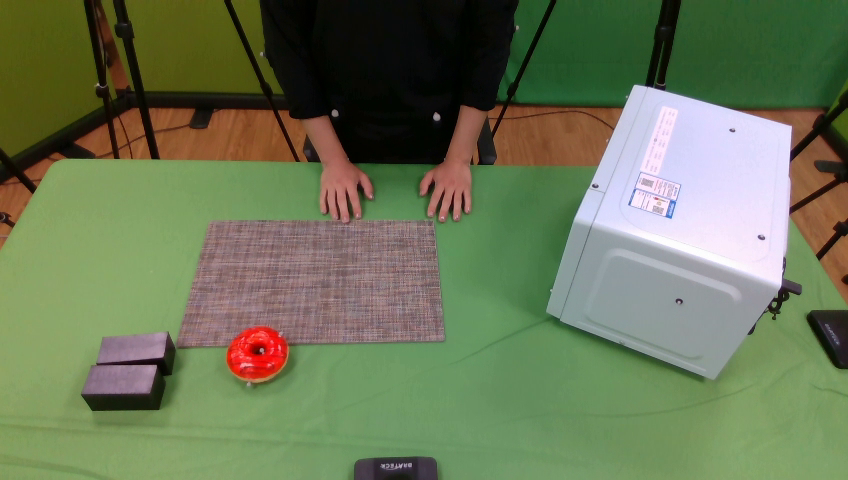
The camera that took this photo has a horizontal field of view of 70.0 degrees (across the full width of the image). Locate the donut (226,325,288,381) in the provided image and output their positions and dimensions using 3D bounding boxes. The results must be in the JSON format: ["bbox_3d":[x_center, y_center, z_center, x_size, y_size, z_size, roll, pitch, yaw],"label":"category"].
[{"bbox_3d":[-0.270,0.182,0.984,0.099,0.048,0.098,5,49,-5],"label":"donut"}]

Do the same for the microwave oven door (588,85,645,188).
[{"bbox_3d":[0.342,-0.107,1.149,0.039,0.245,0.354,20,48,15],"label":"microwave oven door"}]

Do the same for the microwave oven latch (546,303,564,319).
[{"bbox_3d":[0.242,0.102,1.081,0.030,0.029,0.079,21,48,17],"label":"microwave oven latch"}]

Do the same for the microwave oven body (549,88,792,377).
[{"bbox_3d":[0.456,-0.028,1.088,0.325,0.261,0.440,20,47,16],"label":"microwave oven body"}]
